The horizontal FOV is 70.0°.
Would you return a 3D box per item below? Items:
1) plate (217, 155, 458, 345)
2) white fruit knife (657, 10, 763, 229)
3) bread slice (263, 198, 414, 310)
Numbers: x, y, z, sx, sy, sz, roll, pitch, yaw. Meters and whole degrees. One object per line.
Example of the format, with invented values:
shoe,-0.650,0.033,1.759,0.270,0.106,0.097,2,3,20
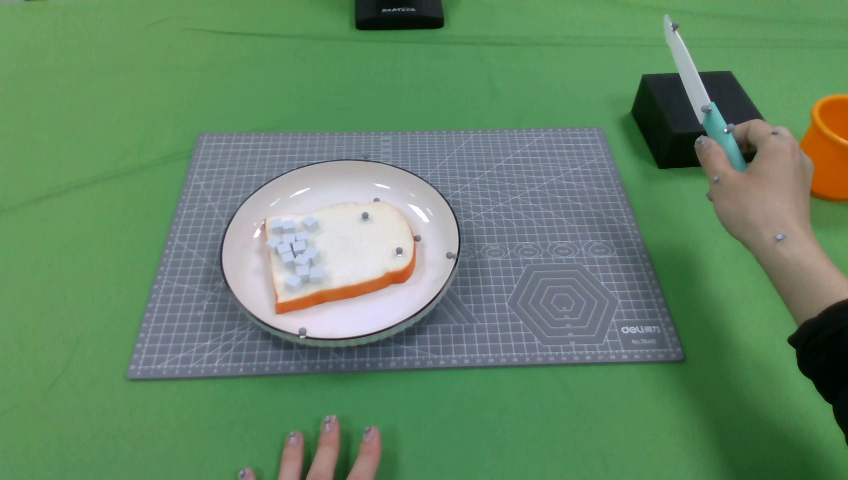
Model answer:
plate,-0.074,0.006,0.540,0.209,0.038,0.207,1,50,-1
white fruit knife,0.241,-0.109,0.520,0.016,0.027,0.206,-16,78,-13
bread slice,-0.076,0.004,0.546,0.132,0.019,0.103,-13,52,-11
